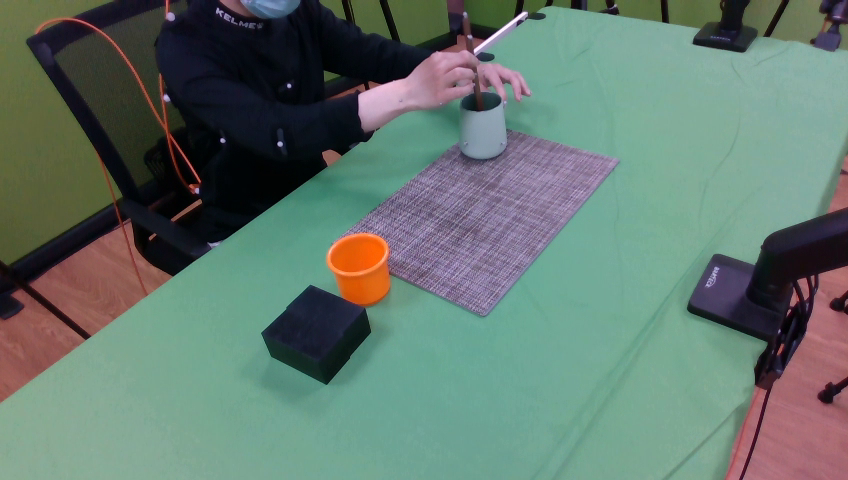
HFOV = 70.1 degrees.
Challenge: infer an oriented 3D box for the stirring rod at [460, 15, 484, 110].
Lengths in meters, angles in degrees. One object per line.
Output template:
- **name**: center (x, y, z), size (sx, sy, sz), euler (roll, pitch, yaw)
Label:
- **stirring rod**: center (0.085, -0.302, 1.047), size (0.005, 0.177, 0.014), euler (17, 51, 35)

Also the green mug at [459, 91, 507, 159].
- **green mug**: center (0.117, -0.225, 1.144), size (0.092, 0.105, 0.125), euler (14, 45, 24)
